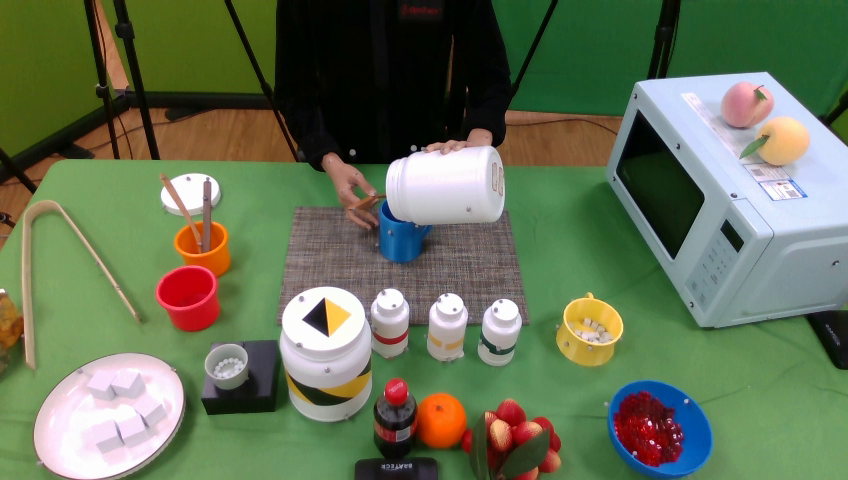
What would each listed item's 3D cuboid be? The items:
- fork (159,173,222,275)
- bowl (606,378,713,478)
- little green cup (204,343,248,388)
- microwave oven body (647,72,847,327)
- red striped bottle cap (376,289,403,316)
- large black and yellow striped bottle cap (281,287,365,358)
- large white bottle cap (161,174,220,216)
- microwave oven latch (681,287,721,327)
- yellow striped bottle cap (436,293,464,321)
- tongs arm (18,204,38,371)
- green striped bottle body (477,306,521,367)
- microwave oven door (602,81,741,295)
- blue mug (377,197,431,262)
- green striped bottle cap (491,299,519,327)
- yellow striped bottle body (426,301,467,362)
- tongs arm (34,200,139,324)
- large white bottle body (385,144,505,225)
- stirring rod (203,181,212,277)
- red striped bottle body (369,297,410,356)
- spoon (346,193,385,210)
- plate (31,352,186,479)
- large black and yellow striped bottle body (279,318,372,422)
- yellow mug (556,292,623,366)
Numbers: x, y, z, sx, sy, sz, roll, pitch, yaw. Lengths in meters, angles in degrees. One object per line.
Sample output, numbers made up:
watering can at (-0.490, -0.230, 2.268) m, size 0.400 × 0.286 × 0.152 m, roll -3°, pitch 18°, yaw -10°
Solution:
fork at (-0.427, -0.029, 1.103) m, size 0.028 × 0.018 × 0.207 m, roll -31°, pitch 99°, yaw -30°
bowl at (0.340, 0.292, 0.906) m, size 0.151 × 0.077 × 0.150 m, roll 2°, pitch 46°, yaw -2°
little green cup at (-0.294, 0.190, 0.909) m, size 0.061 × 0.039 × 0.061 m, roll 1°, pitch 48°, yaw -1°
microwave oven body at (0.607, -0.089, 1.164) m, size 0.326 × 0.261 × 0.438 m, roll -7°, pitch 46°, yaw -10°
red striped bottle cap at (-0.054, 0.098, 0.958) m, size 0.044 × 0.018 × 0.044 m, roll 0°, pitch 48°, yaw 1°
large black and yellow striped bottle cap at (-0.141, 0.112, 0.847) m, size 0.115 × 0.019 × 0.114 m, roll 5°, pitch 45°, yaw -4°
large white bottle cap at (-0.483, -0.095, 1.253) m, size 0.115 × 0.018 × 0.114 m, roll 2°, pitch 46°, yaw -2°
microwave oven latch at (0.494, 0.119, 1.087) m, size 0.030 × 0.029 × 0.078 m, roll -6°, pitch 46°, yaw -9°
yellow striped bottle cap at (0.041, 0.106, 0.959) m, size 0.044 × 0.019 × 0.044 m, roll -1°, pitch 50°, yaw 1°
tongs arm at (-0.698, 0.070, 1.069) m, size 0.028 × 0.028 × 0.385 m, roll -21°, pitch 51°, yaw -13°
green striped bottle body at (0.124, 0.151, 0.995) m, size 0.063 × 0.120 × 0.063 m, roll 2°, pitch 46°, yaw -2°
microwave oven door at (0.456, -0.107, 1.162) m, size 0.039 × 0.245 × 0.353 m, roll -6°, pitch 47°, yaw -11°
blue mug at (-0.033, -0.029, 1.159) m, size 0.116 × 0.106 × 0.082 m, roll -22°, pitch 52°, yaw -23°
green striped bottle cap at (0.128, 0.115, 0.958) m, size 0.044 × 0.020 × 0.044 m, roll 1°, pitch 47°, yaw -1°
yellow striped bottle body at (0.037, 0.142, 0.996) m, size 0.063 × 0.121 × 0.062 m, roll 2°, pitch 46°, yaw -2°
tongs arm at (-0.622, 0.034, 1.105) m, size 0.051 × 0.026 × 0.382 m, roll -32°, pitch 56°, yaw -25°
large white bottle body at (0.036, -0.093, 1.052) m, size 0.184 × 0.131 × 0.130 m, roll -2°, pitch 43°, yaw 23°
stirring rod at (-0.396, -0.021, 1.107) m, size 0.014 × 0.006 × 0.176 m, roll -1°, pitch 89°, yaw -1°
red striped bottle body at (-0.059, 0.135, 0.997) m, size 0.063 × 0.120 × 0.062 m, roll 6°, pitch 49°, yaw -7°
spoon at (-0.090, -0.082, 1.160) m, size 0.041 × 0.022 × 0.194 m, roll 16°, pitch 19°, yaw 27°
plate at (-0.459, 0.262, 0.898) m, size 0.209 × 0.038 × 0.208 m, roll 2°, pitch 46°, yaw -2°
large black and yellow striped bottle body at (-0.145, 0.173, 0.907) m, size 0.131 × 0.185 × 0.130 m, roll 2°, pitch 46°, yaw -2°
yellow mug at (0.285, 0.145, 1.051) m, size 0.100 × 0.064 × 0.130 m, roll 7°, pitch 45°, yaw 3°
